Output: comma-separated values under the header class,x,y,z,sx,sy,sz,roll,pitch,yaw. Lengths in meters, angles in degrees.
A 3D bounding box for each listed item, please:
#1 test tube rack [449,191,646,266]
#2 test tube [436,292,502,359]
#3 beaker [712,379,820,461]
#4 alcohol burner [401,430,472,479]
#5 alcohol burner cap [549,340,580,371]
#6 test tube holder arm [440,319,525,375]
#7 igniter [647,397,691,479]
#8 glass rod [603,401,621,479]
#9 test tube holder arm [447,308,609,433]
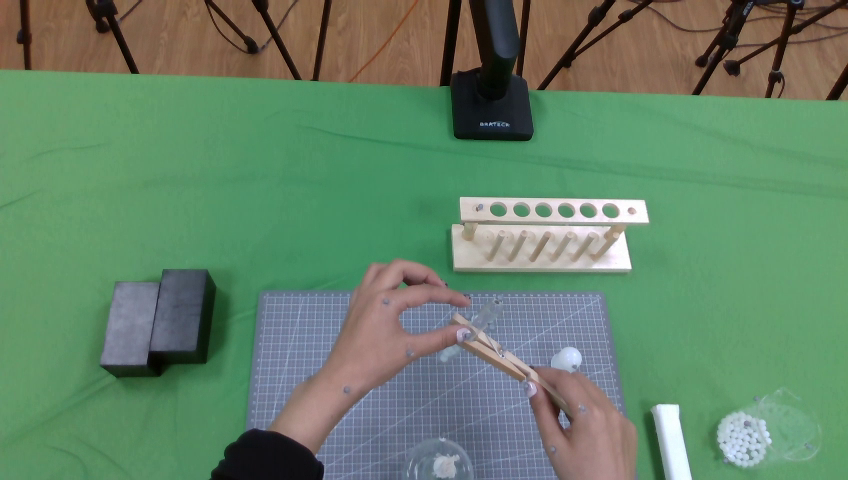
class,x,y,z,sx,sy,sz,roll,pitch,yaw
test tube rack,0.160,-0.013,0.796,0.243,0.086,0.066,0,64,-6
test tube,0.038,0.084,0.571,0.017,0.151,0.017,8,61,-14
beaker,0.390,0.213,0.703,0.074,0.101,0.083,13,62,0
alcohol burner,0.015,0.237,0.638,0.078,0.120,0.077,2,61,-4
alcohol burner cap,0.175,0.140,0.744,0.034,0.048,0.033,3,64,-5
test tube holder arm,0.055,0.101,0.567,0.088,0.015,0.010,28,60,3
igniter,0.293,0.316,0.682,0.057,0.025,0.274,6,63,-15
glass rod,0.225,0.286,0.696,0.008,0.008,0.198,0,64,-6
test tube holder arm,0.096,0.121,0.566,0.178,0.015,0.013,35,61,7
